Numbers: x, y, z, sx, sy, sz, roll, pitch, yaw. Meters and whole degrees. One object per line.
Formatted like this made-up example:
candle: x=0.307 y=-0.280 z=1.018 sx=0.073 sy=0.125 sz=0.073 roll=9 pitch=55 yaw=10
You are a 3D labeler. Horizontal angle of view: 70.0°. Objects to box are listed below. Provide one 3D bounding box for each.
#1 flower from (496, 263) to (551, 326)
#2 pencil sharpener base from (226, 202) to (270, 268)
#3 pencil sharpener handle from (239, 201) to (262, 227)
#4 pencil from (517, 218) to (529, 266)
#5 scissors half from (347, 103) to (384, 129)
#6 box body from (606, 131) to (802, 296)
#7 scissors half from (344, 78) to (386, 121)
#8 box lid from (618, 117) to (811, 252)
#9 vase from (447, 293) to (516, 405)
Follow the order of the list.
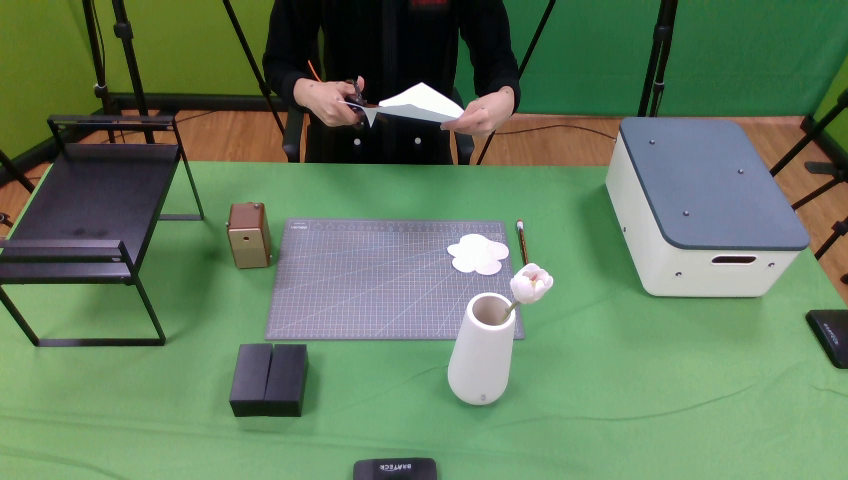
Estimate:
flower: x=0.102 y=0.120 z=0.853 sx=0.044 sy=0.363 sz=0.038 roll=-2 pitch=64 yaw=-10
pencil sharpener base: x=-0.323 y=-0.010 z=1.123 sx=0.061 sy=0.107 sz=0.076 roll=-3 pitch=46 yaw=-7
pencil sharpener handle: x=-0.325 y=-0.055 z=1.150 sx=0.036 sy=0.068 sz=0.030 roll=-13 pitch=46 yaw=3
pencil: x=0.200 y=0.027 z=1.196 sx=0.012 sy=0.012 sz=0.193 roll=1 pitch=48 yaw=-3
scissors half: x=-0.103 y=-0.224 z=1.078 sx=0.013 sy=0.040 sz=0.174 roll=-14 pitch=8 yaw=-23
box body: x=0.530 y=-0.067 z=1.204 sx=0.254 sy=0.161 sz=0.361 roll=0 pitch=46 yaw=-4
scissors half: x=-0.105 y=-0.246 z=1.070 sx=0.013 sy=0.040 sz=0.174 roll=-19 pitch=42 yaw=-21
box lid: x=0.534 y=-0.117 z=1.149 sx=0.263 sy=0.015 sz=0.369 roll=0 pitch=47 yaw=-3
vase: x=0.091 y=0.169 z=0.921 sx=0.098 sy=0.201 sz=0.097 roll=3 pitch=47 yaw=-3
